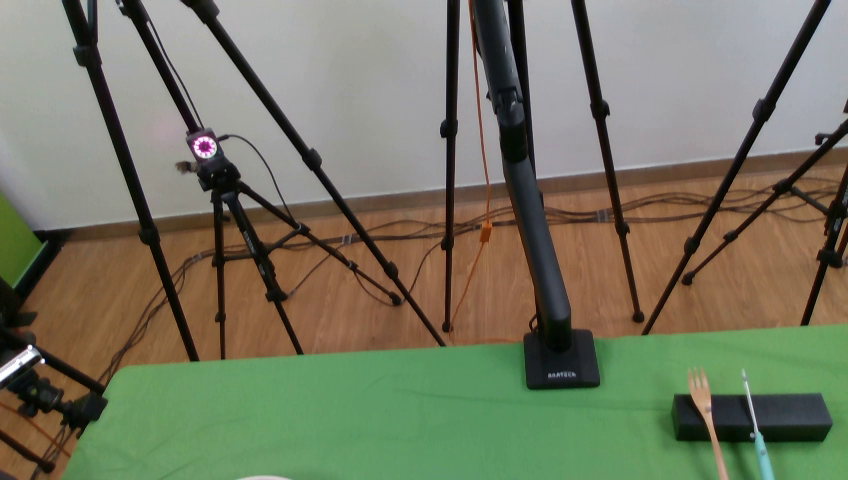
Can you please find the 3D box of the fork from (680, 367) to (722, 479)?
[{"bbox_3d":[0.399,0.282,0.857,0.028,0.019,0.205,-6,63,1],"label":"fork"}]

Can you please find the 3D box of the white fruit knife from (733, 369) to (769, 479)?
[{"bbox_3d":[0.456,0.280,0.844,0.016,0.028,0.205,-8,59,14],"label":"white fruit knife"}]
